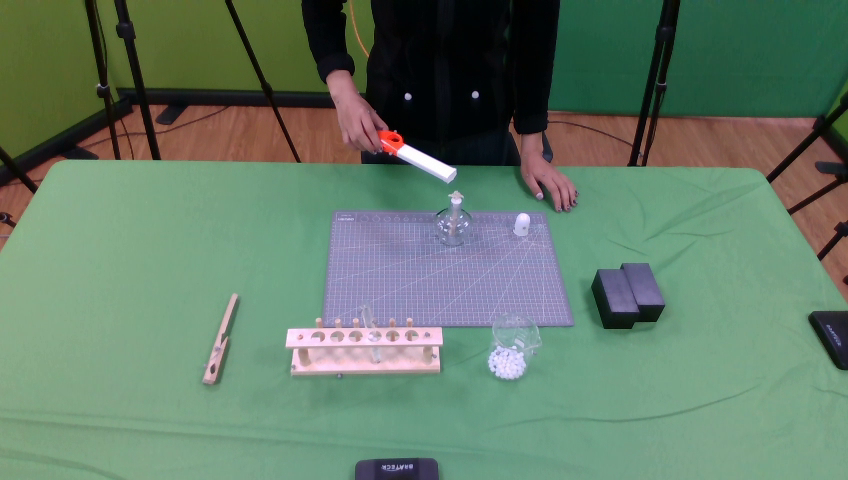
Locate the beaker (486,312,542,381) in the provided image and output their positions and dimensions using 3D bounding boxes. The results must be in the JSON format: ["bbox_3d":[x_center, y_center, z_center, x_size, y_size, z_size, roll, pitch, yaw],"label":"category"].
[{"bbox_3d":[0.144,0.177,0.985,0.084,0.101,0.074,22,49,16],"label":"beaker"}]

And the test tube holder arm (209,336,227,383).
[{"bbox_3d":[-0.338,0.193,0.991,0.010,0.015,0.087,28,39,-25],"label":"test tube holder arm"}]

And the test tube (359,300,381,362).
[{"bbox_3d":[-0.083,0.144,0.940,0.017,0.151,0.017,-3,46,3],"label":"test tube"}]

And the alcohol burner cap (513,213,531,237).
[{"bbox_3d":[0.200,-0.034,1.227,0.034,0.048,0.033,2,45,-2],"label":"alcohol burner cap"}]

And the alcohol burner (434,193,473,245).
[{"bbox_3d":[0.059,-0.047,1.180,0.078,0.120,0.077,1,48,-1],"label":"alcohol burner"}]

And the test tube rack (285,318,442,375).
[{"bbox_3d":[-0.095,0.168,0.986,0.242,0.085,0.066,0,46,-4],"label":"test tube rack"}]

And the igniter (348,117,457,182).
[{"bbox_3d":[-0.051,-0.184,1.199,0.275,0.025,0.057,31,59,28],"label":"igniter"}]

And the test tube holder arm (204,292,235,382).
[{"bbox_3d":[-0.343,0.159,1.020,0.013,0.015,0.177,27,39,-26],"label":"test tube holder arm"}]
